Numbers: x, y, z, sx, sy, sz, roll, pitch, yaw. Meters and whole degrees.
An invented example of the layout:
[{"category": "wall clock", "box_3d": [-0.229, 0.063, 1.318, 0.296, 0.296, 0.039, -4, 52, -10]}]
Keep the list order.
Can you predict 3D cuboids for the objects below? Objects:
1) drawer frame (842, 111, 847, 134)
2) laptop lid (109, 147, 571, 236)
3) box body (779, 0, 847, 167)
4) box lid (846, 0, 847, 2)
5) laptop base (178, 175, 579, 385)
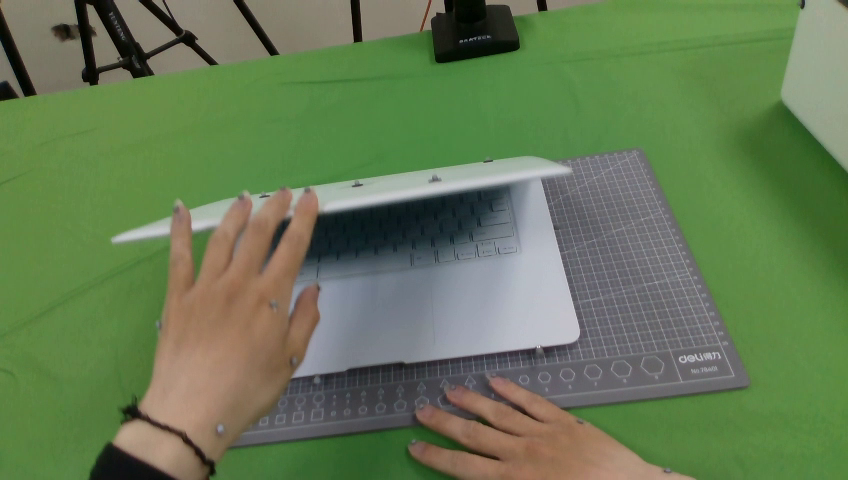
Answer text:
[{"category": "drawer frame", "box_3d": [0.517, -0.074, 0.510, 0.201, 0.083, 0.211, -8, 45, 3]}, {"category": "laptop lid", "box_3d": [-0.061, -0.052, 0.552, 0.356, 0.013, 0.241, -8, 11, 6]}, {"category": "box body", "box_3d": [0.517, -0.123, 0.514, 0.254, 0.162, 0.360, -11, 47, 1]}, {"category": "box lid", "box_3d": [0.506, -0.172, 0.458, 0.263, 0.015, 0.367, -12, 46, 2]}, {"category": "laptop base", "box_3d": [-0.047, 0.021, 0.594, 0.354, 0.023, 0.233, -8, 50, 4]}]
